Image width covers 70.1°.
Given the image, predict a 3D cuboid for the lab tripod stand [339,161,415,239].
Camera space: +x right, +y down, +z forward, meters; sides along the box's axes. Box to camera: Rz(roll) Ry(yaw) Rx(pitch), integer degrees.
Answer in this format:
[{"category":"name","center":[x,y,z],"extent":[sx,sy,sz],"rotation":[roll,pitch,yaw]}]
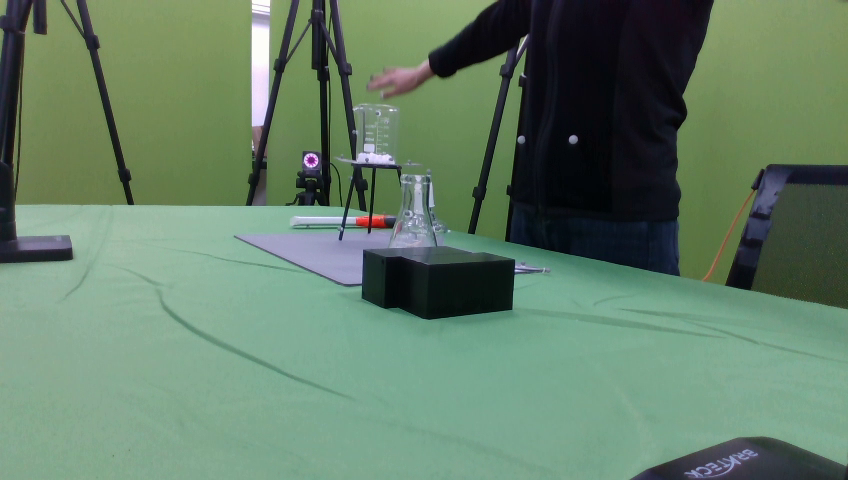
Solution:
[{"category":"lab tripod stand","center":[-0.082,-0.070,1.059],"extent":[0.148,0.131,0.148],"rotation":[4,6,0]}]

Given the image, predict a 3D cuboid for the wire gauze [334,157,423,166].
[{"category":"wire gauze","center":[-0.081,-0.135,1.051],"extent":[0.122,0.011,0.124],"rotation":[2,6,-30]}]

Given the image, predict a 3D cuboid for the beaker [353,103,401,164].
[{"category":"beaker","center":[-0.084,-0.183,1.045],"extent":[0.084,0.100,0.074],"rotation":[4,6,3]}]

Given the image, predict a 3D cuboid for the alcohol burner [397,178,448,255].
[{"category":"alcohol burner","center":[-0.001,-0.037,0.903],"extent":[0.078,0.119,0.078],"rotation":[4,9,0]}]

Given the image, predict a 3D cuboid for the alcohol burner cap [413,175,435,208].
[{"category":"alcohol burner cap","center":[-0.001,-0.072,0.898],"extent":[0.034,0.048,0.034],"rotation":[-3,10,1]}]

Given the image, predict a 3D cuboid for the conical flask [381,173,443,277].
[{"category":"conical flask","center":[-0.012,-0.020,0.731],"extent":[0.075,0.122,0.075],"rotation":[2,7,0]}]

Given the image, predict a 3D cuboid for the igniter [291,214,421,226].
[{"category":"igniter","center":[-0.135,-0.041,1.250],"extent":[0.278,0.025,0.057],"rotation":[-1,-3,-28]}]

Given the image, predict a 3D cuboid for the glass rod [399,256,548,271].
[{"category":"glass rod","center":[0.064,0.030,0.806],"extent":[0.199,0.008,0.008],"rotation":[4,7,10]}]
